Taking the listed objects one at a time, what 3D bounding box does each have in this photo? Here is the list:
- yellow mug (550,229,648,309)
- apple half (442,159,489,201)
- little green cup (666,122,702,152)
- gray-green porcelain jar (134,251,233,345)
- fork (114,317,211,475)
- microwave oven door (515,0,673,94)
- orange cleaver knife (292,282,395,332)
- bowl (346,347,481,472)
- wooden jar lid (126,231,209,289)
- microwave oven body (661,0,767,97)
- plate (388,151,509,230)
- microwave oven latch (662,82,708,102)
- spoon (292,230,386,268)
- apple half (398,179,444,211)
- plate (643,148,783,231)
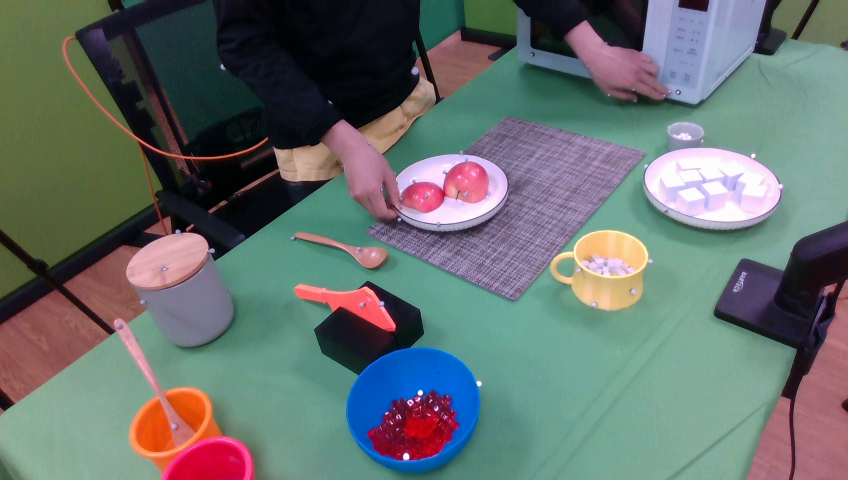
[{"bbox_3d":[0.245,0.040,0.857,0.130,0.064,0.099,1,42,11],"label":"yellow mug"},{"bbox_3d":[0.074,-0.110,1.047,0.080,0.053,0.075,21,46,30],"label":"apple half"},{"bbox_3d":[0.471,-0.184,1.102,0.061,0.039,0.061,-5,41,5],"label":"little green cup"},{"bbox_3d":[-0.334,0.076,0.849,0.106,0.127,0.105,-4,41,4],"label":"gray-green porcelain jar"},{"bbox_3d":[-0.309,0.179,0.708,0.028,0.018,0.207,-30,89,-24],"label":"fork"},{"bbox_3d":[0.344,-0.459,1.257,0.353,0.245,0.039,26,52,33],"label":"microwave oven door"},{"bbox_3d":[-0.116,0.091,0.835,0.209,0.077,0.012,2,32,48],"label":"orange cleaver knife"},{"bbox_3d":[-0.008,0.205,0.691,0.151,0.077,0.150,-4,40,4],"label":"bowl"},{"bbox_3d":[-0.340,0.030,0.809,0.108,0.021,0.108,-5,39,5],"label":"wooden jar lid"},{"bbox_3d":[0.473,-0.516,1.313,0.438,0.261,0.327,26,51,34],"label":"microwave oven body"},{"bbox_3d":[0.044,-0.082,1.042,0.209,0.038,0.208,-4,40,4],"label":"plate"},{"bbox_3d":[0.518,-0.298,1.202,0.078,0.029,0.030,28,53,35],"label":"microwave oven latch"},{"bbox_3d":[-0.141,0.007,0.982,0.192,0.022,0.041,17,67,25],"label":"spoon"},{"bbox_3d":[-0.004,-0.088,1.045,0.081,0.033,0.081,-1,43,1],"label":"apple half"},{"bbox_3d":[0.464,-0.080,0.986,0.207,0.039,0.206,-4,41,4],"label":"plate"}]
